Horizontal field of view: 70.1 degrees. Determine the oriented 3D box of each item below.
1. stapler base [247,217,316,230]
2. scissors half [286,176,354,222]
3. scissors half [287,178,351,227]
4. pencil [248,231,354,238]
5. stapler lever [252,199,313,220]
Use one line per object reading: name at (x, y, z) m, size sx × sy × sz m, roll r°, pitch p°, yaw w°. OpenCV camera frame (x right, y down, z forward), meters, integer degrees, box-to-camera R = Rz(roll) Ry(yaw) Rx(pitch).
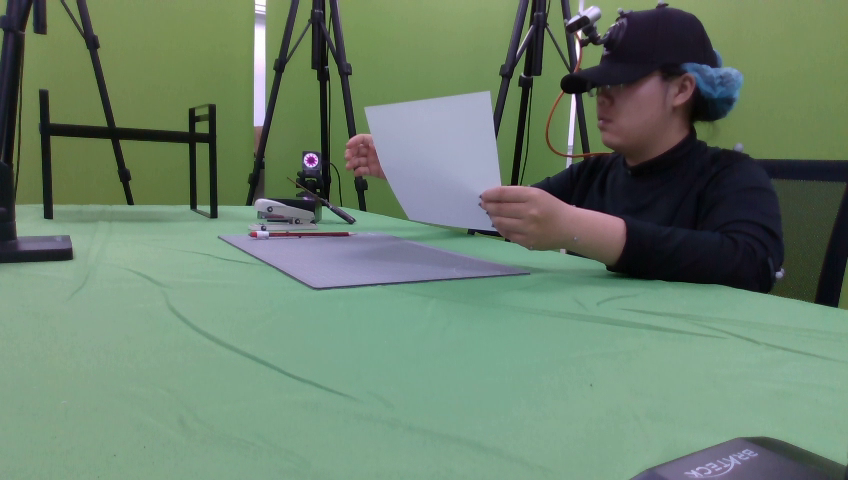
stapler base at (-0.276, -0.033, 1.172) m, size 0.131 × 0.024 × 0.041 m, roll 0°, pitch 10°, yaw -37°
scissors half at (-0.229, -0.091, 1.337) m, size 0.175 × 0.013 × 0.040 m, roll 33°, pitch 17°, yaw -13°
scissors half at (-0.232, -0.085, 1.318) m, size 0.175 × 0.013 × 0.040 m, roll 38°, pitch 22°, yaw 4°
pencil at (-0.206, -0.009, 1.039) m, size 0.195 × 0.012 × 0.012 m, roll 0°, pitch 8°, yaw -36°
stapler lever at (-0.273, -0.058, 1.170) m, size 0.119 × 0.040 × 0.026 m, roll 0°, pitch 10°, yaw -37°
